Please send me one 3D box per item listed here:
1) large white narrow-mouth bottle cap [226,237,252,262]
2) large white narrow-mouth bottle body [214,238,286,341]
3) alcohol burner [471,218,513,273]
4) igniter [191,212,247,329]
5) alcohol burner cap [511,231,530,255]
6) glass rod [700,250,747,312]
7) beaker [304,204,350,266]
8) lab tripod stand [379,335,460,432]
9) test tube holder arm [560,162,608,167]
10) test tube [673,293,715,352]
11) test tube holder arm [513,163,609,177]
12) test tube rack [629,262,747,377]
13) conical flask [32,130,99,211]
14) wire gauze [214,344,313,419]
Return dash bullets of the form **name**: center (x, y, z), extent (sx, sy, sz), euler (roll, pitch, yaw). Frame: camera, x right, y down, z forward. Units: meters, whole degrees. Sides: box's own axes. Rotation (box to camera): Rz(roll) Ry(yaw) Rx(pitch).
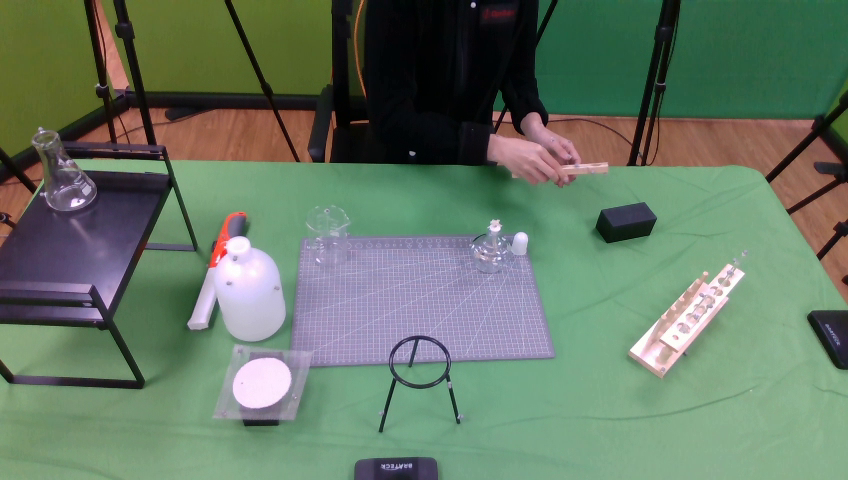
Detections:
- **large white narrow-mouth bottle cap**: center (-0.282, 0.014, 0.923), extent (0.038, 0.024, 0.037), euler (2, 46, -2)
- **large white narrow-mouth bottle body**: center (-0.285, 0.073, 0.986), extent (0.102, 0.195, 0.101), euler (2, 46, -2)
- **alcohol burner**: center (0.128, 0.005, 1.132), extent (0.078, 0.120, 0.077), euler (0, 47, 0)
- **igniter**: center (-0.376, 0.047, 1.121), extent (0.057, 0.025, 0.275), euler (-4, 46, 6)
- **alcohol burner cap**: center (0.191, 0.003, 1.188), extent (0.034, 0.048, 0.033), euler (3, 46, -3)
- **glass rod**: center (0.500, 0.075, 1.021), extent (0.008, 0.201, 0.008), euler (0, 54, 1)
- **beaker**: center (-0.178, -0.006, 1.132), extent (0.084, 0.101, 0.073), euler (4, 46, -1)
- **lab tripod stand**: center (-0.011, 0.214, 0.911), extent (0.148, 0.132, 0.147), euler (1, 45, 0)
- **test tube holder arm**: center (0.303, -0.138, 1.145), extent (0.088, 0.015, 0.010), euler (-3, 27, 15)
- **test tube**: center (0.429, 0.137, 0.979), extent (0.017, 0.151, 0.017), euler (5, 46, -5)
- **test tube holder arm**: center (0.258, -0.133, 1.152), extent (0.178, 0.015, 0.013), euler (-3, 27, 15)
- **test tube rack**: center (0.464, 0.126, 1.061), extent (0.242, 0.085, 0.066), euler (-34, 56, -31)
- **conical flask**: center (-0.565, -0.111, 0.944), extent (0.075, 0.122, 0.075), euler (2, 46, -2)
- **wire gauze**: center (-0.241, 0.213, 0.915), extent (0.121, 0.011, 0.124), euler (5, 46, 1)
